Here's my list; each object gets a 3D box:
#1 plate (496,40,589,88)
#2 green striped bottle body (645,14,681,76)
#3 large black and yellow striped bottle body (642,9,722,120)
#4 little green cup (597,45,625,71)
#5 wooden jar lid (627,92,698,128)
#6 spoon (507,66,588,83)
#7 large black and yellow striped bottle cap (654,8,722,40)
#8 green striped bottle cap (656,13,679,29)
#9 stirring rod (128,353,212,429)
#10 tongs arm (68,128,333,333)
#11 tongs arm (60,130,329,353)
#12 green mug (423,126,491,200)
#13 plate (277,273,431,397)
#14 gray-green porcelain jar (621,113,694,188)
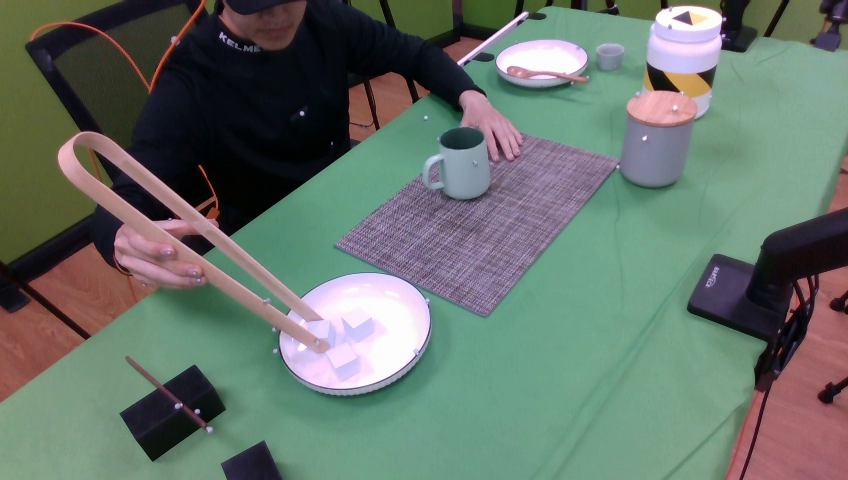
[{"bbox_3d":[0.269,-0.397,1.381,0.209,0.038,0.208,-4,41,4],"label":"plate"},{"bbox_3d":[0.520,-0.424,1.312,0.063,0.120,0.063,-4,41,4],"label":"green striped bottle body"},{"bbox_3d":[0.493,-0.334,1.161,0.131,0.185,0.130,-4,41,4],"label":"large black and yellow striped bottle body"},{"bbox_3d":[0.422,-0.413,1.375,0.061,0.039,0.061,-3,41,3],"label":"little green cup"},{"bbox_3d":[0.384,-0.207,0.980,0.108,0.021,0.108,-6,39,5],"label":"wooden jar lid"},{"bbox_3d":[0.265,-0.357,1.311,0.192,0.022,0.042,18,47,38],"label":"spoon"},{"bbox_3d":[0.483,-0.397,1.108,0.115,0.019,0.114,-3,41,3],"label":"large black and yellow striped bottle cap"},{"bbox_3d":[0.515,-0.463,1.278,0.044,0.020,0.044,-6,42,6],"label":"green striped bottle cap"},{"bbox_3d":[-0.311,0.180,0.732,0.175,0.014,0.006,25,54,32],"label":"stirring rod"},{"bbox_3d":[-0.246,0.005,0.729,0.027,0.390,0.028,-22,37,30],"label":"tongs arm"},{"bbox_3d":[-0.248,0.021,0.712,0.026,0.388,0.050,-24,41,27],"label":"tongs arm"},{"bbox_3d":[0.055,-0.125,1.039,0.126,0.105,0.091,-25,44,-19],"label":"green mug"},{"bbox_3d":[-0.091,0.130,0.820,0.207,0.039,0.206,-4,40,4],"label":"plate"},{"bbox_3d":[0.390,-0.161,1.020,0.106,0.127,0.105,-4,41,4],"label":"gray-green porcelain jar"}]
